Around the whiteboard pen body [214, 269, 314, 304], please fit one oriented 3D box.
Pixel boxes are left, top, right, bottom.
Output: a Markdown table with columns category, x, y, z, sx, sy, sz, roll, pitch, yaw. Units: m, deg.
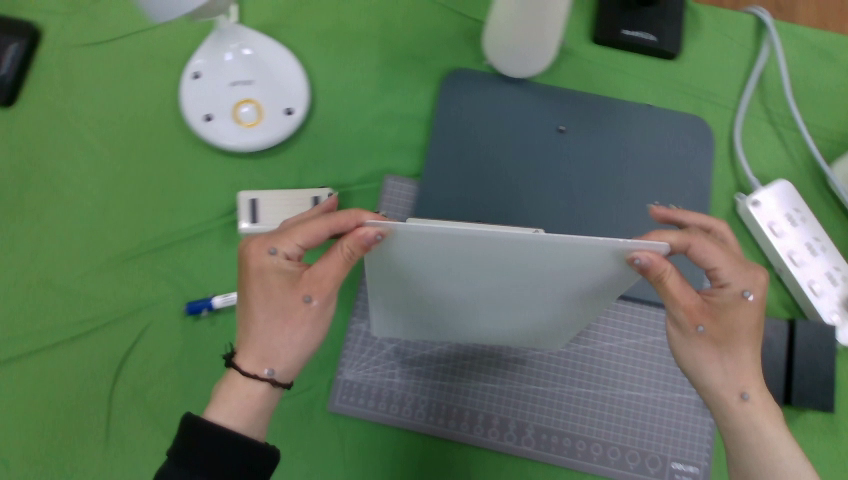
| category | x | y | z | sx | sy | sz | roll | pitch | yaw |
| --- | --- | --- | --- | --- | --- | --- | --- | --- | --- |
| whiteboard pen body | -0.201 | 0.058 | 0.720 | 0.141 | 0.017 | 0.017 | -14 | 77 | -5 |

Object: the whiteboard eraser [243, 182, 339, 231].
| category | x | y | z | sx | sy | sz | roll | pitch | yaw |
| --- | --- | --- | --- | --- | --- | --- | --- | --- | --- |
| whiteboard eraser | -0.160 | -0.041 | 0.733 | 0.113 | 0.042 | 0.055 | -3 | 79 | -4 |

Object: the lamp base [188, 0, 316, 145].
| category | x | y | z | sx | sy | sz | roll | pitch | yaw |
| --- | --- | --- | --- | --- | --- | --- | --- | --- | --- |
| lamp base | -0.220 | -0.226 | 0.702 | 0.161 | 0.181 | 0.178 | -17 | 75 | -7 |

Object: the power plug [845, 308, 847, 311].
| category | x | y | z | sx | sy | sz | roll | pitch | yaw |
| --- | --- | --- | --- | --- | --- | --- | --- | --- | --- |
| power plug | 0.543 | 0.069 | 0.723 | 0.072 | 0.053 | 0.035 | -16 | 76 | -11 |

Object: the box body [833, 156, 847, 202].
| category | x | y | z | sx | sy | sz | roll | pitch | yaw |
| --- | --- | --- | --- | --- | --- | --- | --- | --- | --- |
| box body | 0.713 | -0.023 | 0.709 | 0.254 | 0.161 | 0.362 | -31 | 80 | -9 |

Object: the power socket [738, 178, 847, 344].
| category | x | y | z | sx | sy | sz | roll | pitch | yaw |
| --- | --- | --- | --- | --- | --- | --- | --- | --- | --- |
| power socket | 0.481 | 0.024 | 0.754 | 0.072 | 0.033 | 0.225 | -27 | 79 | -9 |

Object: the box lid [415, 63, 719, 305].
| category | x | y | z | sx | sy | sz | roll | pitch | yaw |
| --- | --- | --- | --- | --- | --- | --- | --- | --- | --- |
| box lid | 0.187 | -0.076 | 0.774 | 0.371 | 0.015 | 0.262 | 12 | 76 | 0 |

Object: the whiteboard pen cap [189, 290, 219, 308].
| category | x | y | z | sx | sy | sz | roll | pitch | yaw |
| --- | --- | --- | --- | --- | --- | --- | --- | --- | --- |
| whiteboard pen cap | -0.258 | 0.069 | 0.715 | 0.033 | 0.018 | 0.018 | -14 | 77 | -3 |

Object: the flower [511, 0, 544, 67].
| category | x | y | z | sx | sy | sz | roll | pitch | yaw |
| --- | --- | --- | --- | --- | --- | --- | --- | --- | --- |
| flower | 0.152 | -0.316 | 0.647 | 0.038 | 0.363 | 0.044 | -33 | 74 | -25 |

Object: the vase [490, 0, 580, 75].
| category | x | y | z | sx | sy | sz | roll | pitch | yaw |
| --- | --- | --- | --- | --- | --- | --- | --- | --- | --- |
| vase | 0.140 | -0.282 | 0.724 | 0.098 | 0.200 | 0.097 | 1 | 75 | -3 |

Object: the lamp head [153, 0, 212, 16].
| category | x | y | z | sx | sy | sz | roll | pitch | yaw |
| --- | --- | --- | --- | --- | --- | --- | --- | --- | --- |
| lamp head | -0.179 | -0.242 | 0.425 | 0.112 | 0.124 | 0.111 | -20 | 39 | 18 |

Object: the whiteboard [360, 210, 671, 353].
| category | x | y | z | sx | sy | sz | roll | pitch | yaw |
| --- | --- | --- | --- | --- | --- | --- | --- | --- | --- |
| whiteboard | 0.061 | -0.005 | 0.575 | 0.217 | 0.307 | 0.143 | 5 | 66 | -1 |
